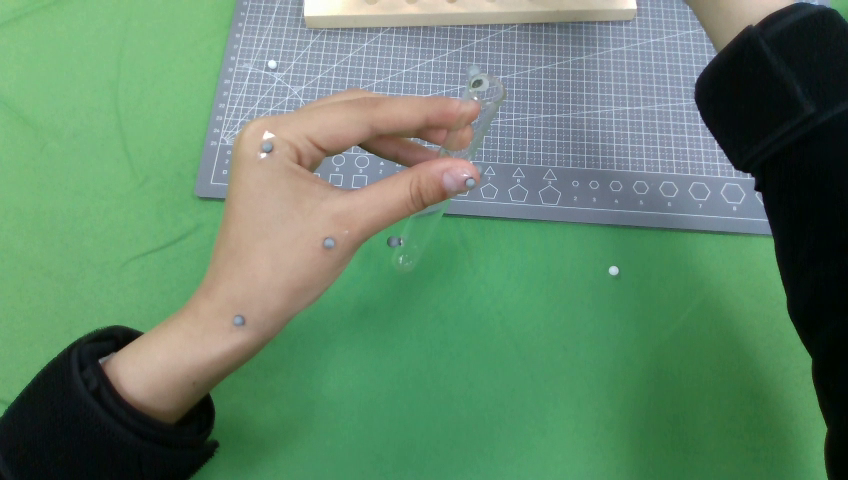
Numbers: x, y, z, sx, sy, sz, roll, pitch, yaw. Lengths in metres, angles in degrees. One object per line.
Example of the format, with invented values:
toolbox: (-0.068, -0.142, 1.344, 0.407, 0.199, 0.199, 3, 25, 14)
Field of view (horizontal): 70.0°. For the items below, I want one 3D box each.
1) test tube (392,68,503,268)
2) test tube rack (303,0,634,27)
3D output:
test tube: (0.006, -0.024, 0.291, 0.017, 0.151, 0.017, 7, 60, -12)
test tube rack: (0.033, -0.207, 0.423, 0.242, 0.086, 0.066, -2, 69, -1)
